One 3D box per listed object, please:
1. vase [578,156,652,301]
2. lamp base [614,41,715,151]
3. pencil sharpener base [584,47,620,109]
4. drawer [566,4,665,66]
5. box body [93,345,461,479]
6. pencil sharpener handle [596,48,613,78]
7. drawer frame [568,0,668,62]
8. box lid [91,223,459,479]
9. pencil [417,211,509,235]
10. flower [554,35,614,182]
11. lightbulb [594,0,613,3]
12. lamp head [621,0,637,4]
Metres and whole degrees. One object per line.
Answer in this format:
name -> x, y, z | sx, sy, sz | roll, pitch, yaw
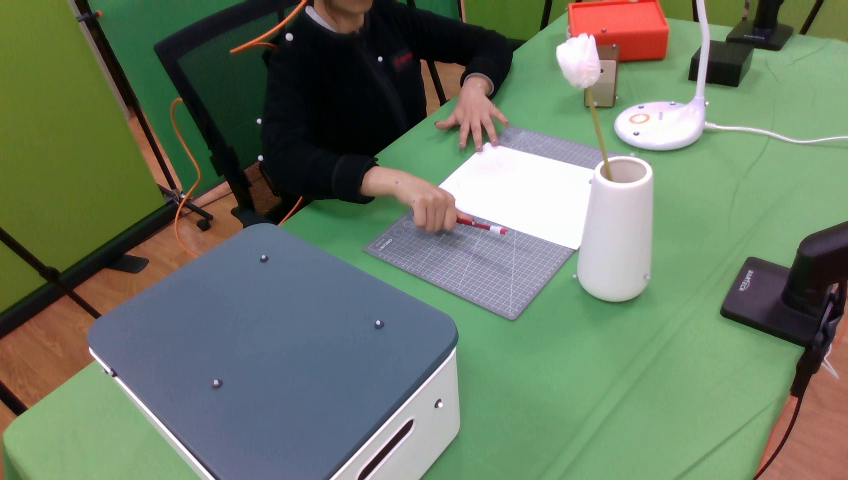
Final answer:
vase -> 0.261, -0.011, 0.812 | 0.098, 0.201, 0.097 | -4, 40, 4
lamp base -> 0.449, -0.277, 1.106 | 0.179, 0.181, 0.160 | 1, 41, 9
pencil sharpener base -> 0.367, -0.336, 1.249 | 0.061, 0.107, 0.076 | 6, 42, 19
drawer -> 0.447, -0.493, 1.441 | 0.211, 0.073, 0.194 | 0, 40, 10
box body -> -0.162, 0.170, 0.708 | 0.361, 0.161, 0.255 | 25, 50, 34
pencil sharpener handle -> 0.382, -0.378, 1.276 | 0.036, 0.068, 0.030 | 3, 41, 21
drawer frame -> 0.450, -0.496, 1.441 | 0.213, 0.083, 0.201 | -1, 40, 9
box lid -> -0.174, 0.103, 0.667 | 0.368, 0.015, 0.264 | 24, 48, 35
pencil -> 0.057, -0.030, 0.978 | 0.192, 0.012, 0.012 | 15, 45, 41
flower -> 0.237, -0.083, 0.774 | 0.044, 0.363, 0.038 | -22, 26, 7
lightbulb -> 0.305, -0.438, 0.978 | 0.060, 0.107, 0.059 | 13, 43, -11
lamp head -> 0.319, -0.453, 0.962 | 0.113, 0.123, 0.112 | 20, 33, -13
